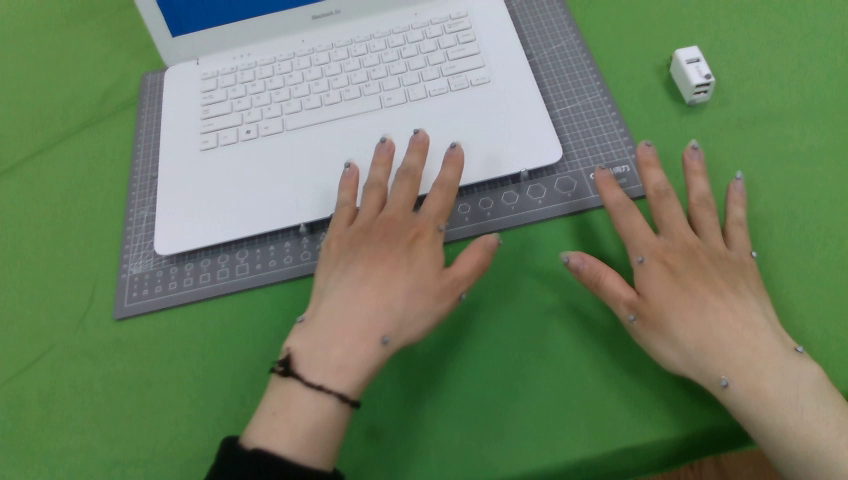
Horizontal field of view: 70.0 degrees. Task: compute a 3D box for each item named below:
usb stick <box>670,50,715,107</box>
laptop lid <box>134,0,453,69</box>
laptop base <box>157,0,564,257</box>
[{"bbox_3d":[0.234,-0.148,0.535,0.021,0.027,0.058,-11,54,3],"label":"usb stick"},{"bbox_3d":[-0.116,-0.302,0.558,0.357,0.244,0.013,-14,39,2],"label":"laptop lid"},{"bbox_3d":[-0.073,-0.117,0.570,0.354,0.023,0.233,-13,60,1],"label":"laptop base"}]
